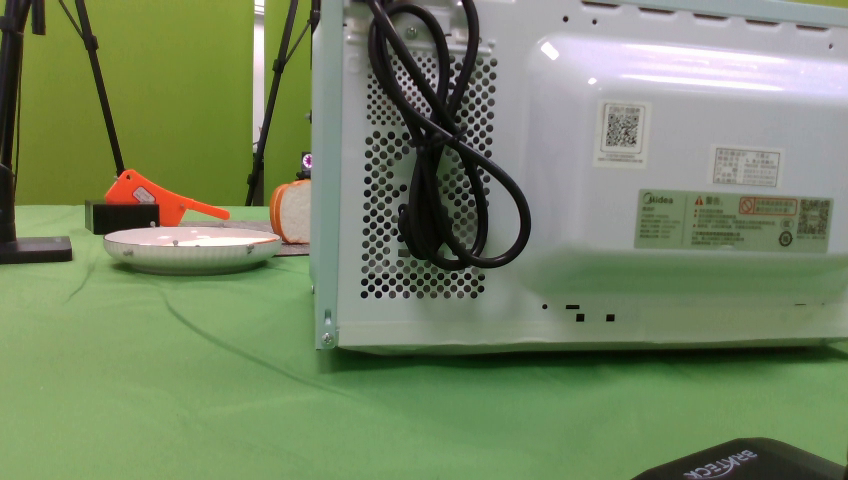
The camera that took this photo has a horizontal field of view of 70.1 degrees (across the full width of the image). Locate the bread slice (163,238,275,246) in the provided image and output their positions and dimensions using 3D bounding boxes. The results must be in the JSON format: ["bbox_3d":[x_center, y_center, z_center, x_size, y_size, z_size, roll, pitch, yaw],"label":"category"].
[{"bbox_3d":[-0.268,0.014,0.759,0.106,0.018,0.135,2,8,21],"label":"bread slice"}]

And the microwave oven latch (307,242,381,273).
[{"bbox_3d":[-0.086,0.019,0.656,0.079,0.029,0.030,2,7,-10],"label":"microwave oven latch"}]

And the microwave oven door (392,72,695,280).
[{"bbox_3d":[0.138,-0.086,0.760,0.355,0.243,0.039,4,8,14],"label":"microwave oven door"}]

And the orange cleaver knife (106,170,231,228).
[{"bbox_3d":[-0.458,-0.060,1.097,0.212,0.077,0.012,23,-4,-38],"label":"orange cleaver knife"}]

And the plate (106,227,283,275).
[{"bbox_3d":[-0.288,0.013,0.772,0.208,0.039,0.207,2,7,0],"label":"plate"}]

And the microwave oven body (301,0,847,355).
[{"bbox_3d":[0.120,-0.053,0.535,0.443,0.260,0.325,2,7,-11],"label":"microwave oven body"}]
